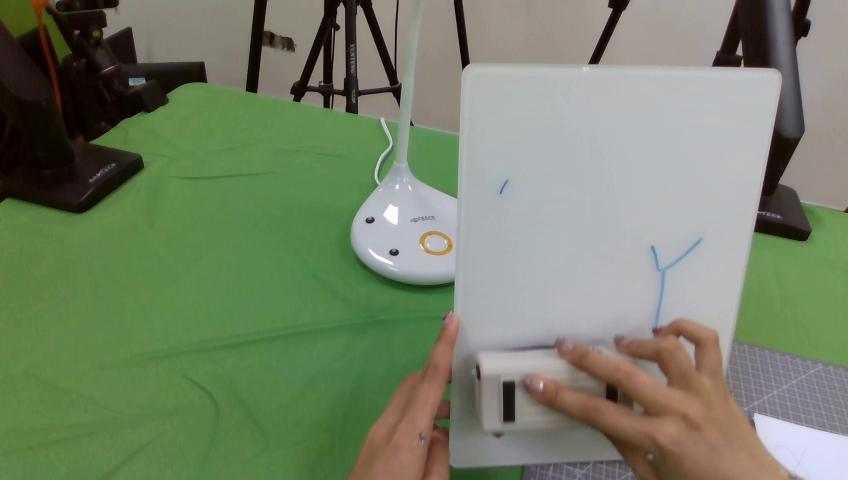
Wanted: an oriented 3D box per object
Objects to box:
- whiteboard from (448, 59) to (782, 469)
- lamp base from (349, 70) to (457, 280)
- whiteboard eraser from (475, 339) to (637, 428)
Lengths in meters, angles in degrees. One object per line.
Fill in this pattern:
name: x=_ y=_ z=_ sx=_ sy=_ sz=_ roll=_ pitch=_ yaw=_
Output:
whiteboard: x=0.123 y=0.011 z=0.498 sx=0.217 sy=0.307 sz=0.143 roll=-1 pitch=18 yaw=-5
lamp base: x=-0.005 y=-0.077 z=0.647 sx=0.161 sy=0.182 sz=0.177 roll=-18 pitch=41 yaw=-28
whiteboard eraser: x=0.094 y=0.102 z=0.437 sx=0.113 sy=0.056 sz=0.041 roll=-3 pitch=16 yaw=-5
